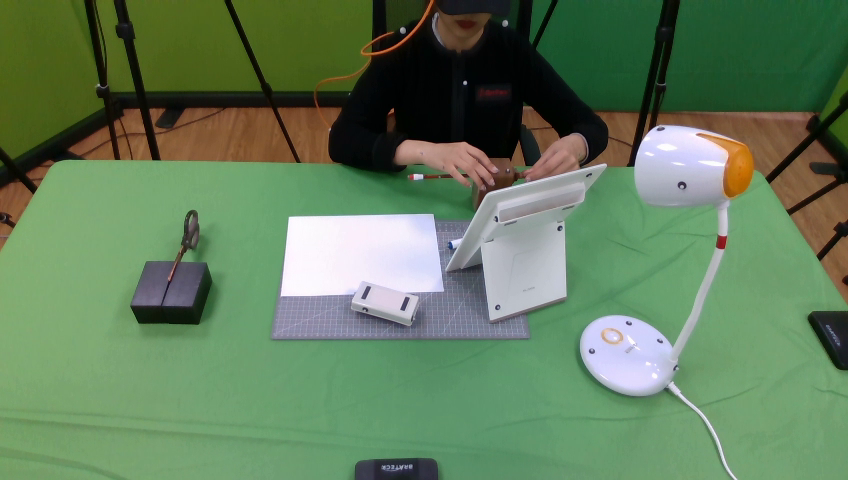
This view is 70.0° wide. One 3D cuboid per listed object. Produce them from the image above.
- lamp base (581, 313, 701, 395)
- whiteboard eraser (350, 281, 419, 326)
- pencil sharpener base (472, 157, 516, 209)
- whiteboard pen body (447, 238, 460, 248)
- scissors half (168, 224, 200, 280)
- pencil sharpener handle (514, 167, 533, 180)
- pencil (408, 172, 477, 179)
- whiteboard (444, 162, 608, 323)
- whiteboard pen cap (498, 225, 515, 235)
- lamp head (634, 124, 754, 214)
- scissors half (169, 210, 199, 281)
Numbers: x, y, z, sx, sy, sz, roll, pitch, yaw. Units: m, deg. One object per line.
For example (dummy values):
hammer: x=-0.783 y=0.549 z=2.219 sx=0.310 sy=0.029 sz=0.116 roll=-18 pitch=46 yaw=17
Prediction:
lamp base: x=0.361 y=0.144 z=0.973 sx=0.178 sy=0.181 sz=0.160 roll=34 pitch=53 yaw=23
whiteboard eraser: x=-0.069 y=0.113 z=1.065 sx=0.112 sy=0.042 sz=0.055 roll=14 pitch=46 yaw=9
pencil sharpener base: x=0.144 y=-0.115 z=1.259 sx=0.077 sy=0.107 sz=0.061 roll=-2 pitch=46 yaw=-6
whiteboard pen body: x=0.112 y=-0.005 z=1.204 sx=0.141 sy=0.017 sz=0.017 roll=-14 pitch=49 yaw=-18
scissors half: x=-0.440 y=0.023 z=1.111 sx=0.013 sy=0.040 sz=0.174 roll=7 pitch=29 yaw=-6
pencil sharpener handle: x=0.198 y=-0.134 z=1.229 sx=0.031 sy=0.036 sz=0.067 roll=-2 pitch=7 yaw=-6
pencil: x=0.064 y=-0.133 z=1.232 sx=0.194 sy=0.012 sz=0.012 roll=-3 pitch=47 yaw=-6
whiteboard: x=0.186 y=0.025 z=1.029 sx=0.217 sy=0.306 sz=0.143 roll=-14 pitch=68 yaw=-18
whiteboard pen cap: x=0.166 y=-0.019 z=1.222 sx=0.033 sy=0.018 sz=0.018 roll=-15 pitch=49 yaw=-18
lamp head: x=0.351 y=-0.089 z=0.776 sx=0.112 sy=0.113 sz=0.122 roll=-30 pitch=30 yaw=-28
scissors half: x=-0.438 y=0.007 z=1.098 sx=0.013 sy=0.040 sz=0.174 roll=3 pitch=48 yaw=-3
